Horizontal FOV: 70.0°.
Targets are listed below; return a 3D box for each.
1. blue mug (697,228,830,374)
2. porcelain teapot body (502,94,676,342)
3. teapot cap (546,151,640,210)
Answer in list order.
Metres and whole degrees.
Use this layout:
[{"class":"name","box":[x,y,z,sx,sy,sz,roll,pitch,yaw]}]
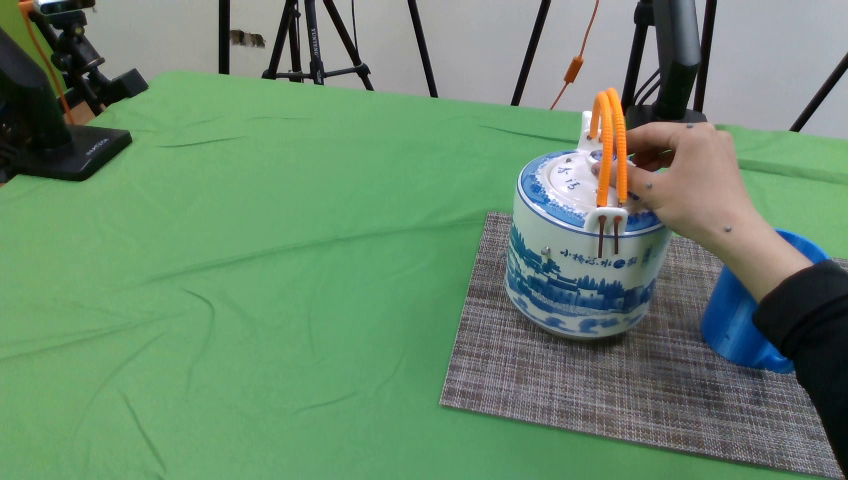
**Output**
[{"class":"blue mug","box":[0.312,0.064,0.550,0.082,0.107,0.115,-3,38,-4]},{"class":"porcelain teapot body","box":[0.155,-0.041,0.585,0.145,0.227,0.203,3,38,4]},{"class":"teapot cap","box":[0.151,-0.055,0.539,0.085,0.044,0.084,5,34,-3]}]
